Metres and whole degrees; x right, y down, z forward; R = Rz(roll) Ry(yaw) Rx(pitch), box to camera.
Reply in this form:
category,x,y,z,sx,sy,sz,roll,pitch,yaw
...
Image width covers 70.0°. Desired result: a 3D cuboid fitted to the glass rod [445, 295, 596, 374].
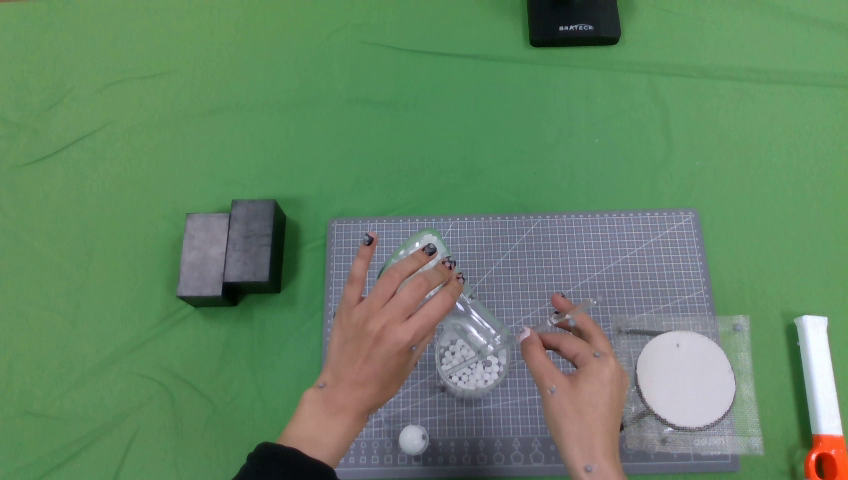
category,x,y,z,sx,sy,sz,roll,pitch,yaw
glass rod,0.079,0.090,0.545,0.008,0.200,0.008,20,52,-28

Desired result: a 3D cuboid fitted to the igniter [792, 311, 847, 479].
category,x,y,z,sx,sy,sz,roll,pitch,yaw
igniter,0.423,0.211,0.637,0.057,0.025,0.275,6,71,-8

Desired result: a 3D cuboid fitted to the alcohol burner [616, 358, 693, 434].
category,x,y,z,sx,sy,sz,roll,pitch,yaw
alcohol burner,0.237,0.156,0.613,0.078,0.120,0.077,-1,71,4

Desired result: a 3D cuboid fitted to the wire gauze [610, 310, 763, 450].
category,x,y,z,sx,sy,sz,roll,pitch,yaw
wire gauze,0.234,0.123,0.542,0.125,0.011,0.120,1,73,3

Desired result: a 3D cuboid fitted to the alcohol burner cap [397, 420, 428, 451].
category,x,y,z,sx,sy,sz,roll,pitch,yaw
alcohol burner cap,-0.013,0.206,0.640,0.034,0.048,0.033,0,72,1

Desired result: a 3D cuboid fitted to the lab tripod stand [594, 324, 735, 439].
category,x,y,z,sx,sy,sz,roll,pitch,yaw
lab tripod stand,0.235,0.146,0.605,0.148,0.132,0.147,0,73,2

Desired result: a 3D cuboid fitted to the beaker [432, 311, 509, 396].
category,x,y,z,sx,sy,sz,roll,pitch,yaw
beaker,0.049,0.123,0.637,0.074,0.101,0.083,21,72,9

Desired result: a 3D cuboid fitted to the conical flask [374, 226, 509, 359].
category,x,y,z,sx,sy,sz,roll,pitch,yaw
conical flask,0.020,0.050,0.542,0.121,0.075,0.075,43,77,9
